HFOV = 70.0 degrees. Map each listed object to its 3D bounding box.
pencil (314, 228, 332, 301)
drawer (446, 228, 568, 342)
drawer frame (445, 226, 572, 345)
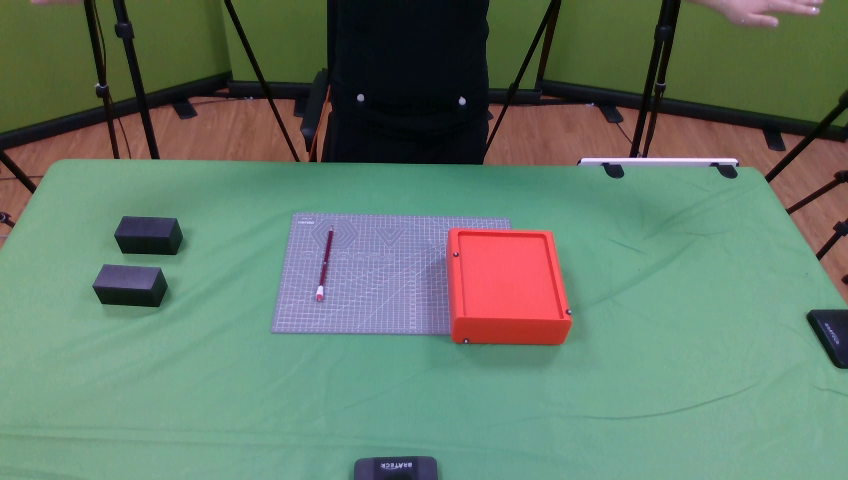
[{"bbox_3d":[-0.189,0.041,1.148,0.012,0.012,0.193,3,43,-1],"label":"pencil"},{"bbox_3d":[0.142,0.078,1.089,0.195,0.073,0.210,2,47,-4],"label":"drawer"},{"bbox_3d":[0.144,0.078,1.087,0.202,0.083,0.212,2,47,-4],"label":"drawer frame"}]
